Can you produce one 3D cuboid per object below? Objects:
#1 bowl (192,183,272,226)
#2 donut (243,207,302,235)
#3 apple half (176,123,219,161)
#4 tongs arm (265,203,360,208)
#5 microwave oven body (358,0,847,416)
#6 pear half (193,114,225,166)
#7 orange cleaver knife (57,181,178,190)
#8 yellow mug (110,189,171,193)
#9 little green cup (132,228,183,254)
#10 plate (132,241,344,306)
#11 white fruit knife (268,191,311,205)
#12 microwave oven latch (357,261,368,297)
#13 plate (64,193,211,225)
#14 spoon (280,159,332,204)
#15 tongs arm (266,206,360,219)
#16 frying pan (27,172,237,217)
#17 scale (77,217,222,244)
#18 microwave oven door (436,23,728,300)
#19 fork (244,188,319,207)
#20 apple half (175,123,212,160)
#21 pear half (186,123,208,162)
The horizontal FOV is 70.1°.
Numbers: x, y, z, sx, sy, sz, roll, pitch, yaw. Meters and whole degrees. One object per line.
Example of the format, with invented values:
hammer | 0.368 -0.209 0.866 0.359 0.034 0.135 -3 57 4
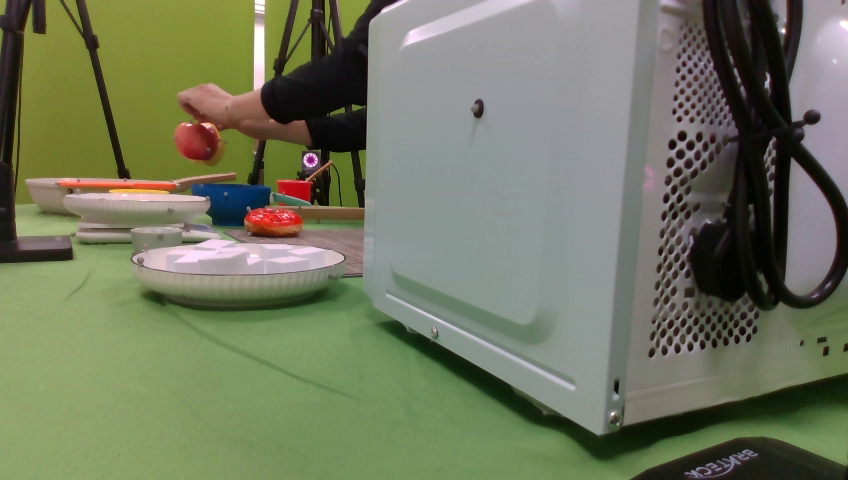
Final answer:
bowl | -0.381 -0.071 1.202 0.151 0.077 0.151 3 7 0
donut | -0.261 -0.032 1.043 0.099 0.048 0.099 4 9 0
apple half | -0.444 -0.193 1.199 0.053 0.074 0.081 15 7 42
tongs arm | -0.212 -0.070 1.440 0.389 0.027 0.028 1 0 -17
microwave oven body | 0.211 -0.047 0.475 0.444 0.260 0.324 -1 7 -28
pear half | -0.452 -0.213 1.294 0.056 0.109 0.076 13 6 -12
orange cleaver knife | -0.600 -0.109 1.189 0.212 0.012 0.077 -1 11 -26
yellow mug | -0.518 -0.055 1.080 0.099 0.064 0.131 6 10 26
little green cup | -0.342 0.006 0.779 0.061 0.038 0.061 2 8 0
plate | -0.187 0.033 0.625 0.208 0.039 0.207 2 7 0
white fruit knife | -0.364 -0.105 1.464 0.208 0.027 0.016 15 -1 -34
microwave oven latch | -0.019 0.033 0.531 0.079 0.029 0.030 -1 7 -27
plate | -0.446 -0.051 0.952 0.209 0.038 0.209 2 7 0
spoon | -0.316 -0.159 1.640 0.194 0.022 0.041 -50 32 -20
tongs arm | -0.174 -0.061 1.363 0.387 0.026 0.050 -1 4 -32
frying pan | -0.624 -0.119 1.387 0.305 0.102 0.490 8 17 32
scale | -0.434 -0.019 0.963 0.202 0.031 0.148 -1 8 -27
microwave oven door | 0.180 -0.073 0.621 0.358 0.243 0.039 -2 9 -29
fork | -0.356 -0.105 1.526 0.208 0.018 0.028 16 -4 -41
apple half | -0.473 -0.200 1.225 0.032 0.081 0.082 16 15 42
pear half | -0.488 -0.211 1.289 0.031 0.088 0.070 16 6 -13
